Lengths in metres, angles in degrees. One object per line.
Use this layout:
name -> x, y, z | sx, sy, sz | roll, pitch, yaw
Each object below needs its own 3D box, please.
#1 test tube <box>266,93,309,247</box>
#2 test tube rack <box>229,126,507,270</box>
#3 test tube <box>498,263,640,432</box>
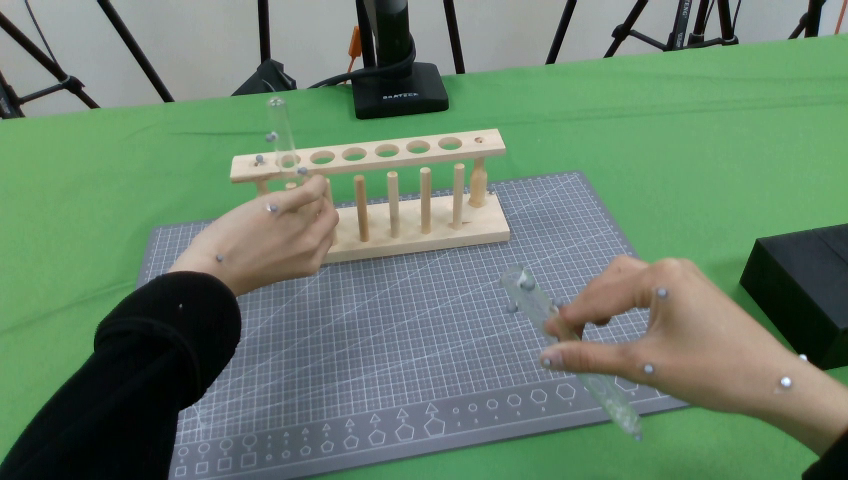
test tube -> -0.113, -0.054, 0.509 | 0.017, 0.152, 0.017 | 0, 41, 0
test tube rack -> -0.047, -0.040, 0.558 | 0.243, 0.086, 0.066 | -7, 42, -5
test tube -> 0.089, 0.068, 0.355 | 0.017, 0.151, 0.017 | -31, 27, 18
